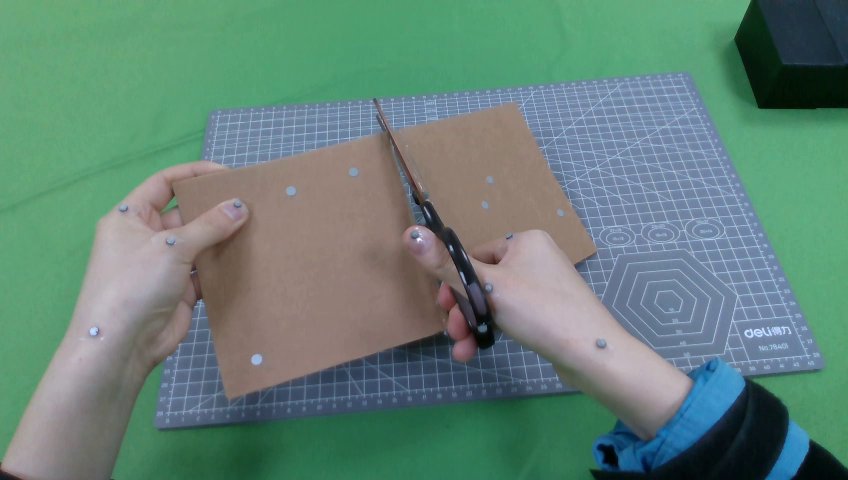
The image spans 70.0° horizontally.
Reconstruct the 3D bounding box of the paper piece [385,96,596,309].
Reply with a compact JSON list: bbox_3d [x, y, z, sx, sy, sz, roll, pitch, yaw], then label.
[{"bbox_3d":[0.054,-0.034,0.425,0.136,0.004,0.135,-23,82,-40],"label":"paper piece"}]

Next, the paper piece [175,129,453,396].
[{"bbox_3d":[-0.069,0.008,0.366,0.138,0.009,0.135,-16,73,-6],"label":"paper piece"}]

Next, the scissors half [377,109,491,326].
[{"bbox_3d":[0.000,-0.024,0.358,0.013,0.040,0.173,-23,52,-4],"label":"scissors half"}]

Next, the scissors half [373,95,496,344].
[{"bbox_3d":[0.003,-0.016,0.379,0.013,0.040,0.174,-25,83,0],"label":"scissors half"}]
